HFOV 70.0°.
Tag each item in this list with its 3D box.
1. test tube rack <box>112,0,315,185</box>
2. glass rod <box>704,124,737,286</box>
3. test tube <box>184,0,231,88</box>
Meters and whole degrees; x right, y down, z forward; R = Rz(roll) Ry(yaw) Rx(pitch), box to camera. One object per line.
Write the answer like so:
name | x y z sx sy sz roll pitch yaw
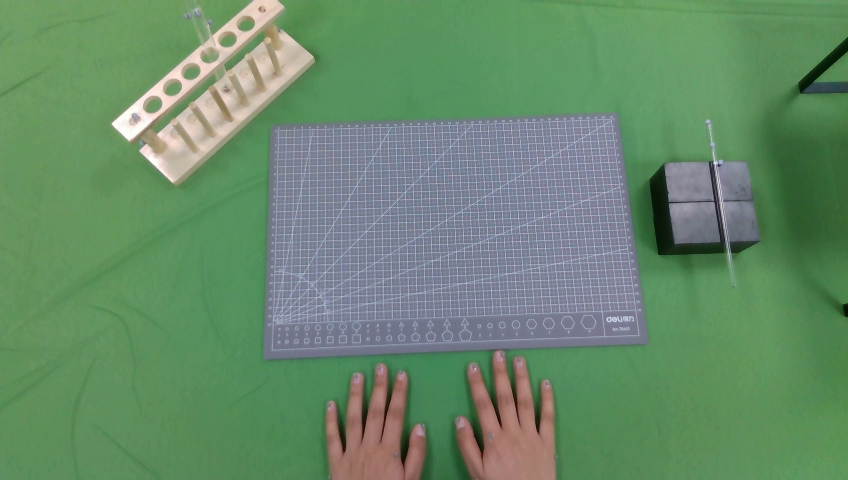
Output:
test tube rack | -0.252 -0.186 0.749 0.066 0.085 0.242 42 78 11
glass rod | 0.344 -0.045 0.703 0.008 0.008 0.198 -2 74 -1
test tube | -0.250 -0.225 0.709 0.017 0.151 0.017 1 70 -3
